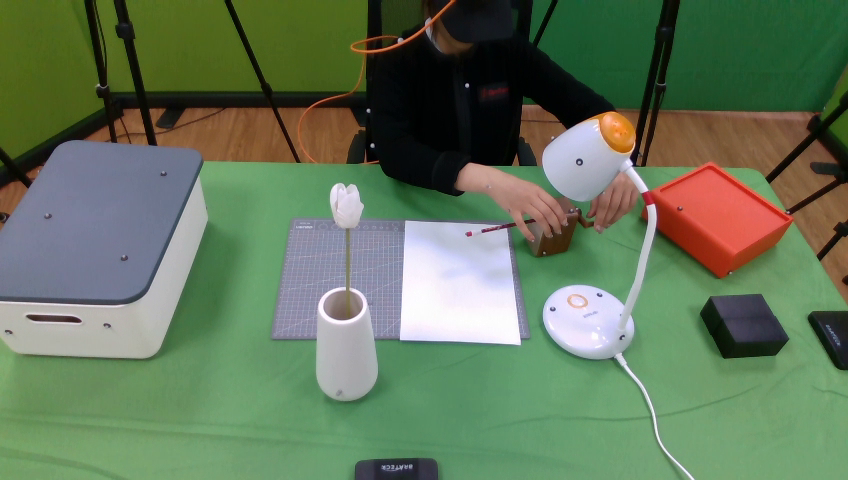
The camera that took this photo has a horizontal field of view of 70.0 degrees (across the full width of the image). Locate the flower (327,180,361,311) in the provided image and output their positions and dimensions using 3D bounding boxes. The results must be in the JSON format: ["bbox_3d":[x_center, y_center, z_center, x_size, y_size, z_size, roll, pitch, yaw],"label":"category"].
[{"bbox_3d":[-0.110,0.086,0.867,0.044,0.363,0.038,22,33,35],"label":"flower"}]

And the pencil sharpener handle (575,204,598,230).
[{"bbox_3d":[0.306,-0.046,1.164,0.031,0.036,0.067,-11,50,-14],"label":"pencil sharpener handle"}]

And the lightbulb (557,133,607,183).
[{"bbox_3d":[0.242,-0.127,0.916,0.059,0.108,0.059,5,67,-13],"label":"lightbulb"}]

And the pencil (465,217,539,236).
[{"bbox_3d":[0.170,-0.031,1.143,0.194,0.012,0.012,-12,48,-12],"label":"pencil"}]

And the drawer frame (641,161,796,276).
[{"bbox_3d":[0.599,-0.051,1.244,0.202,0.083,0.212,-24,53,-25],"label":"drawer frame"}]

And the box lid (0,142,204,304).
[{"bbox_3d":[-0.534,-0.044,0.994,0.263,0.015,0.369,3,45,-3],"label":"box lid"}]

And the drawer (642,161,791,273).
[{"bbox_3d":[0.596,-0.051,1.246,0.194,0.073,0.210,-23,52,-25],"label":"drawer"}]

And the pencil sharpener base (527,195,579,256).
[{"bbox_3d":[0.252,-0.028,1.181,0.077,0.107,0.061,-11,47,-14],"label":"pencil sharpener base"}]

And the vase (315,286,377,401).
[{"bbox_3d":[-0.119,0.159,0.911,0.098,0.201,0.097,2,47,-2],"label":"vase"}]

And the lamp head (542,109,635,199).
[{"bbox_3d":[0.253,-0.131,0.893,0.113,0.123,0.112,10,66,-24],"label":"lamp head"}]

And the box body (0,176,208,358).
[{"bbox_3d":[-0.546,0.017,1.045,0.254,0.161,0.361,2,46,-2],"label":"box body"}]

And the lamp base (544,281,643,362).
[{"bbox_3d":[0.303,0.095,1.014,0.161,0.181,0.178,-24,54,-24],"label":"lamp base"}]
